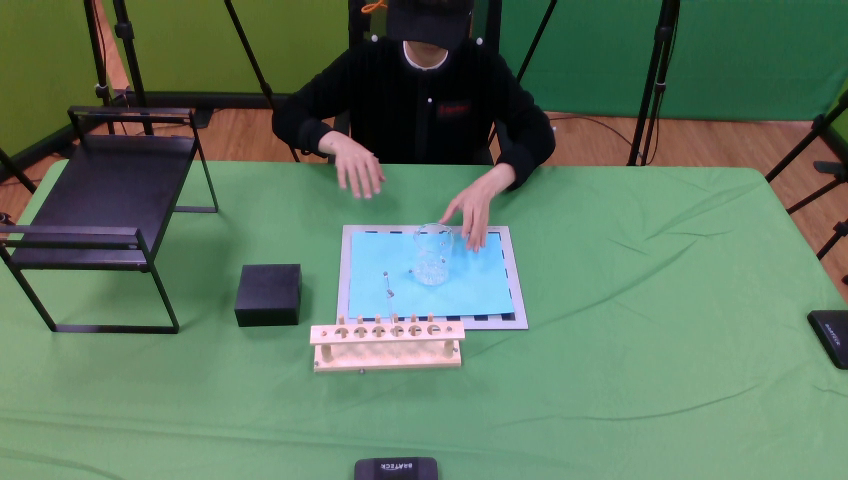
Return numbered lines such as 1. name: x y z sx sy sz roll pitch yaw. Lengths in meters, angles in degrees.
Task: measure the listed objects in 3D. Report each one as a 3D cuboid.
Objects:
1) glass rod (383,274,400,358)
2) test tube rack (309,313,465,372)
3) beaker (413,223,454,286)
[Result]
1. glass rod: -0.049 0.122 0.936 0.008 0.201 0.008 -3 43 3
2. test tube rack: -0.059 0.161 0.990 0.242 0.085 0.066 -1 46 -5
3. beaker: 0.018 0.028 1.109 0.084 0.101 0.073 -34 57 -31
